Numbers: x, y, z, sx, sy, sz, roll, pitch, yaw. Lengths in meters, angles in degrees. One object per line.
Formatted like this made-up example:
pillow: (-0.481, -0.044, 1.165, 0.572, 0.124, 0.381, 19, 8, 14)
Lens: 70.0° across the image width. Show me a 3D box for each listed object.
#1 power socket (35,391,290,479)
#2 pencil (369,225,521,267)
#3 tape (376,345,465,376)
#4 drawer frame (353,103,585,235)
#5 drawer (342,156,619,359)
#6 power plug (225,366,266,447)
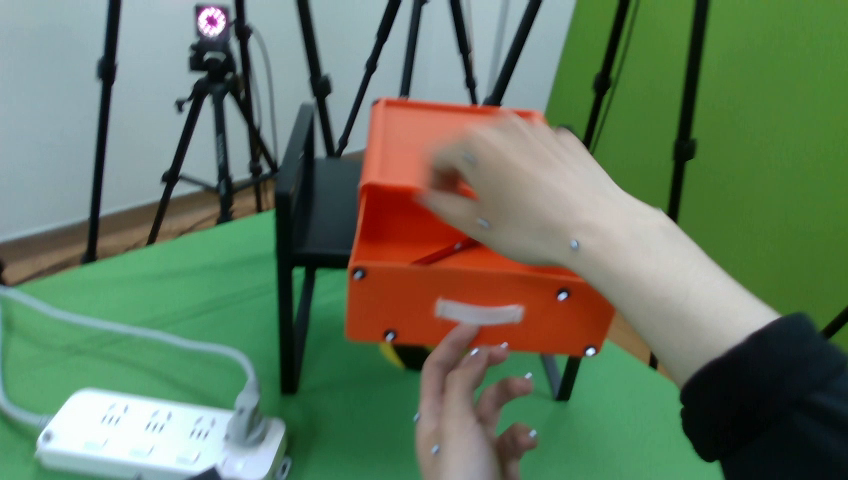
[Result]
power socket: (-0.236, 0.186, 0.556, 0.227, 0.033, 0.071, 8, 31, 2)
pencil: (0.017, 0.008, 0.550, 0.195, 0.012, 0.012, -14, 37, -35)
tape: (-0.001, 0.102, 0.719, 0.117, 0.053, 0.116, 6, 33, -3)
drawer frame: (0.033, -0.061, 0.617, 0.202, 0.083, 0.211, 3, 31, -6)
drawer: (0.037, 0.003, 0.519, 0.195, 0.074, 0.210, 4, 31, -4)
power plug: (-0.157, 0.162, 0.566, 0.035, 0.053, 0.072, 14, 33, 11)
